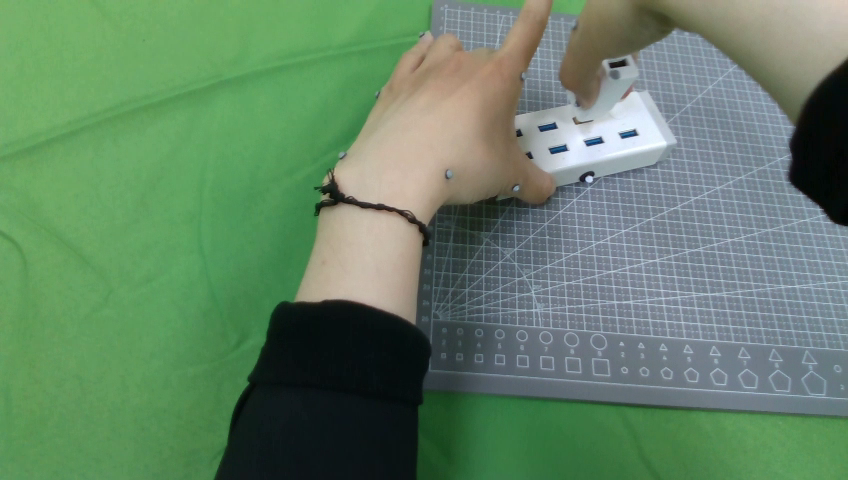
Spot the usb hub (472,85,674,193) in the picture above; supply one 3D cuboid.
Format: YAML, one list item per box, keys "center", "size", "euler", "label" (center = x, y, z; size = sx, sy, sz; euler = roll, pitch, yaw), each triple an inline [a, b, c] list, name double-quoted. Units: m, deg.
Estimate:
- center: [0.098, -0.069, 0.401]
  size: [0.125, 0.025, 0.049]
  euler: [-13, 66, -13]
  label: "usb hub"

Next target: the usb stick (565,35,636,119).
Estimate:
- center: [0.105, -0.096, 0.375]
  size: [0.021, 0.059, 0.027]
  euler: [-18, 69, -16]
  label: "usb stick"
